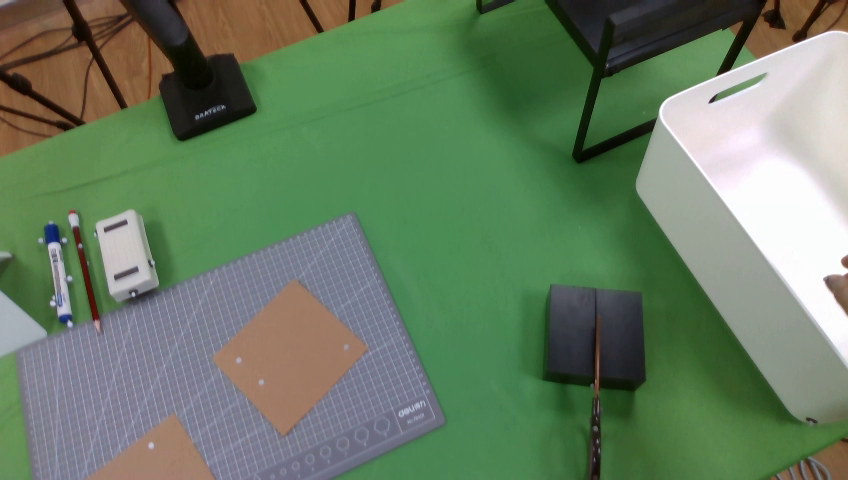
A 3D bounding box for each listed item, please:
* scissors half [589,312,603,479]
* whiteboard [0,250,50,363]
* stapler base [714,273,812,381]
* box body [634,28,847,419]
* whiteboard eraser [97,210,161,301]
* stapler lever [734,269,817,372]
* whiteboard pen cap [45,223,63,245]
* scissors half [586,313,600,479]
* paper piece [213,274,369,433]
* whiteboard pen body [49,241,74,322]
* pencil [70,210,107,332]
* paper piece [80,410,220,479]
[{"bbox_3d":[0.178,0.159,0.625,0.013,0.040,0.174,2,68,11],"label":"scissors half"},{"bbox_3d":[-0.617,0.022,0.679,0.217,0.309,0.142,-23,46,-6],"label":"whiteboard"},{"bbox_3d":[0.385,0.093,0.685,0.041,0.024,0.129,-27,69,-6],"label":"stapler base"},{"bbox_3d":[0.434,-0.018,0.662,0.254,0.161,0.360,-24,65,-6],"label":"box body"},{"bbox_3d":[-0.376,0.020,0.774,0.055,0.042,0.111,-25,66,-6],"label":"whiteboard eraser"},{"bbox_3d":[0.384,0.084,0.661,0.027,0.040,0.117,-27,70,-5],"label":"stapler lever"},{"bbox_3d":[-0.493,-0.005,0.807,0.018,0.018,0.033,-25,64,-7],"label":"whiteboard pen cap"},{"bbox_3d":[0.181,0.165,0.644,0.013,0.040,0.175,4,85,6],"label":"scissors half"},{"bbox_3d":[-0.160,0.132,0.721,0.137,0.009,0.136,40,78,18],"label":"paper piece"},{"bbox_3d":[-0.472,0.043,0.783,0.017,0.017,0.139,-23,65,-6],"label":"whiteboard pen body"},{"bbox_3d":[-0.436,0.037,0.787,0.012,0.012,0.192,-26,66,-8],"label":"pencil"},{"bbox_3d":[-0.298,0.280,0.662,0.135,0.004,0.134,-38,68,-13],"label":"paper piece"}]
